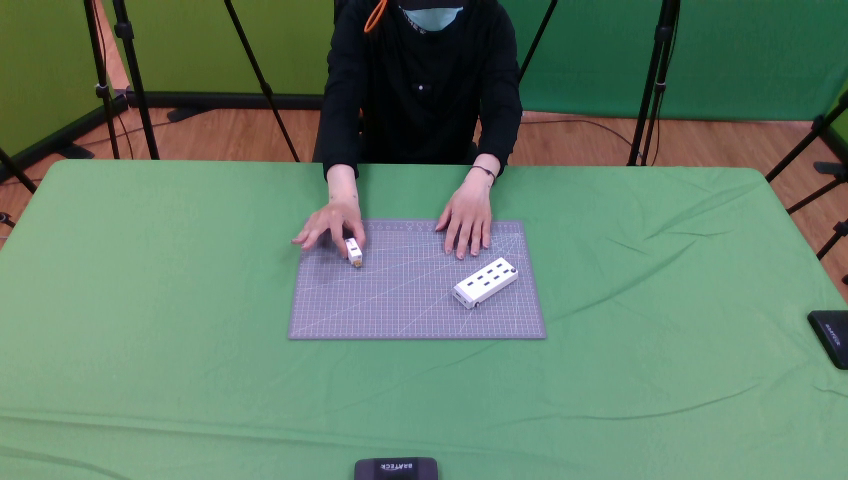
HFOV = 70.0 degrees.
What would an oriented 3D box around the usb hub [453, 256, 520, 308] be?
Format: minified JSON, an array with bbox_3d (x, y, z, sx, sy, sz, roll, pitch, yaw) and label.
[{"bbox_3d":[0.117,0.077,1.121,0.125,0.025,0.049,-29,55,-27],"label":"usb hub"}]

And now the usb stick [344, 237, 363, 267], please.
[{"bbox_3d":[-0.132,0.024,1.152,0.021,0.027,0.059,-14,58,-23],"label":"usb stick"}]
